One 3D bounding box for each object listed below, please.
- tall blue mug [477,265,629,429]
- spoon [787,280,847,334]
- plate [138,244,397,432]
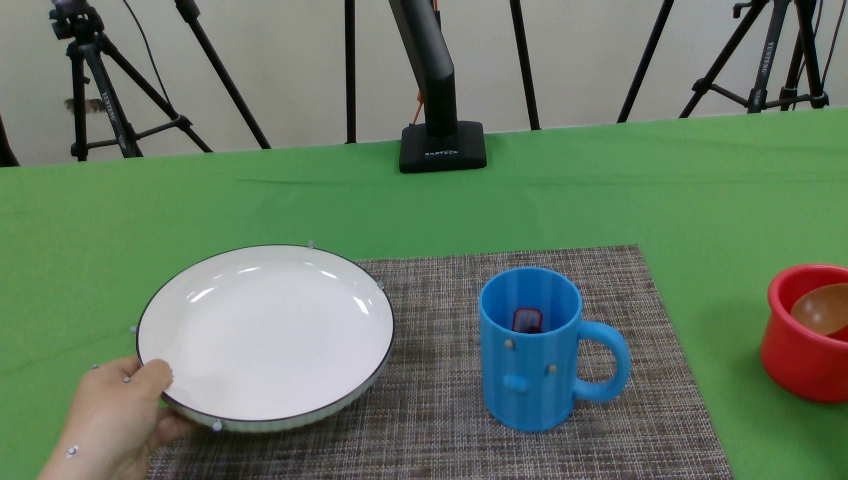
[{"bbox_3d":[0.097,0.084,0.479,0.107,0.109,0.077,-7,37,-1],"label":"tall blue mug"},{"bbox_3d":[0.332,0.020,0.411,0.022,0.194,0.041,18,59,-8],"label":"spoon"},{"bbox_3d":[-0.128,0.080,0.518,0.208,0.039,0.205,5,37,-4],"label":"plate"}]
